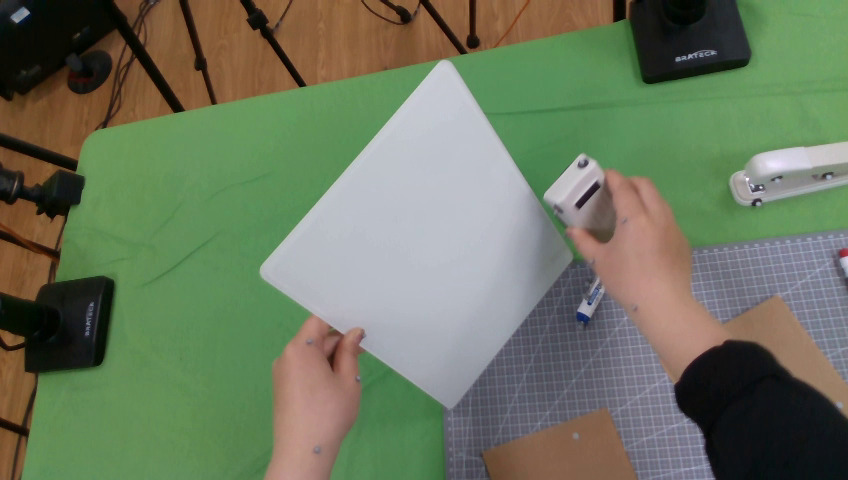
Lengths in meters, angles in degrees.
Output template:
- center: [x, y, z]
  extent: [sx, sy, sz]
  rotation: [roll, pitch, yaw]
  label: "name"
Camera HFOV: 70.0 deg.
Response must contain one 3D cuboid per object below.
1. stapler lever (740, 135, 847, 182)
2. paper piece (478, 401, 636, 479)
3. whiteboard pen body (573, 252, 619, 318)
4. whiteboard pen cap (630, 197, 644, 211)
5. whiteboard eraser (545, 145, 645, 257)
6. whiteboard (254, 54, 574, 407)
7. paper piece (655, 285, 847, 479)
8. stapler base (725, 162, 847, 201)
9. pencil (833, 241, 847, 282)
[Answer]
- center: [0.384, -0.085, 0.614]
  extent: [0.118, 0.040, 0.026]
  rotation: [-14, 70, 10]
  label: "stapler lever"
- center: [0.137, 0.243, 0.590]
  extent: [0.135, 0.004, 0.134]
  rotation: [-22, 64, 6]
  label: "paper piece"
- center: [0.197, 0.020, 0.653]
  extent: [0.017, 0.017, 0.140]
  rotation: [26, 78, 22]
  label: "whiteboard pen body"
- center: [0.227, -0.029, 0.662]
  extent: [0.018, 0.018, 0.033]
  rotation: [23, 75, 22]
  label: "whiteboard pen cap"
- center: [0.163, -0.035, 0.580]
  extent: [0.055, 0.114, 0.041]
  rotation: [-47, 35, 3]
  label: "whiteboard eraser"
- center: [-0.017, -0.009, 0.599]
  extent: [0.217, 0.309, 0.142]
  rotation: [-49, 45, -6]
  label: "whiteboard"
- center: [0.320, 0.134, 0.583]
  extent: [0.136, 0.009, 0.137]
  rotation: [-30, 67, 7]
  label: "paper piece"
- center: [0.389, -0.076, 0.636]
  extent: [0.130, 0.024, 0.041]
  rotation: [-13, 70, 8]
  label: "stapler base"
- center: [0.422, 0.092, 0.568]
  extent: [0.012, 0.012, 0.192]
  rotation: [-11, 70, 11]
  label: "pencil"
